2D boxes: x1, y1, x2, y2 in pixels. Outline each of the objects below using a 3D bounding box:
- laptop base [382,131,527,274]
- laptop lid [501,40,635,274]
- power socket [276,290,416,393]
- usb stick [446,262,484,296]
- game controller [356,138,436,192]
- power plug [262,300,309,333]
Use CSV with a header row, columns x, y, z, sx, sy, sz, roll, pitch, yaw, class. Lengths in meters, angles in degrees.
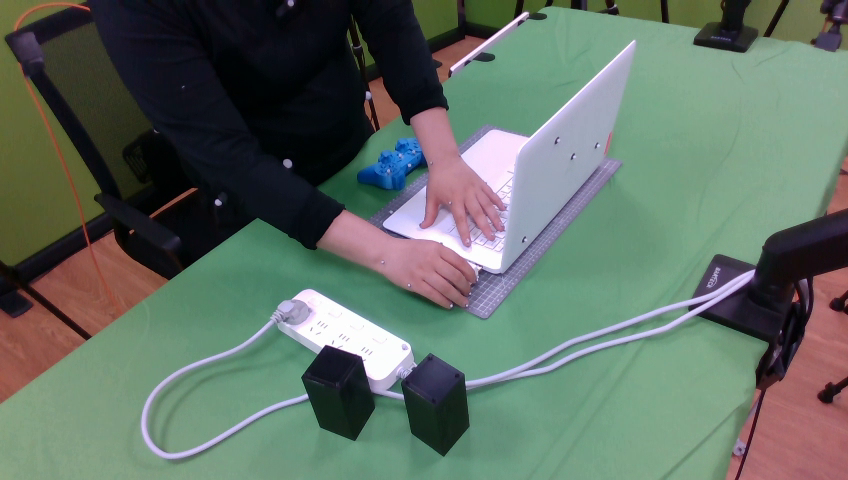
x,y,z,sx,sy,sz,roll,pitch,yaw,class
0.124,-0.080,1.048,0.233,0.023,0.355,20,47,33,laptop base
0.219,-0.127,0.904,0.013,0.242,0.358,28,50,25,laptop lid
-0.113,0.133,0.820,0.225,0.033,0.072,24,48,32,power socket
0.062,0.053,0.889,0.059,0.027,0.021,-39,47,-13,usb stick
-0.047,-0.149,1.135,0.096,0.052,0.155,27,51,28,game controller
-0.192,0.110,0.829,0.073,0.053,0.035,-36,47,-25,power plug
